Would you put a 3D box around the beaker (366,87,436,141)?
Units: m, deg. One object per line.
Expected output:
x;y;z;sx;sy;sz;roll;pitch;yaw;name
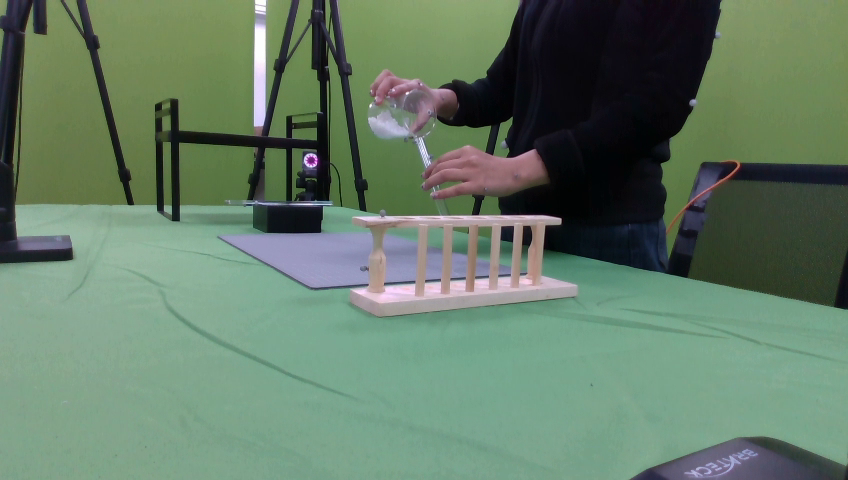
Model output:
-0.040;-0.202;0.989;0.074;0.084;0.100;-7;8;-42;beaker

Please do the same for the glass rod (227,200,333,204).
-0.268;-0.071;1.143;0.201;0.008;0.008;-1;8;-29;glass rod

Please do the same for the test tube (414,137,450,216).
0.014;-0.094;0.942;0.017;0.150;0.017;-17;-15;-5;test tube

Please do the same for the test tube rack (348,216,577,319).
0.048;0.021;0.619;0.244;0.085;0.066;-2;9;-31;test tube rack
